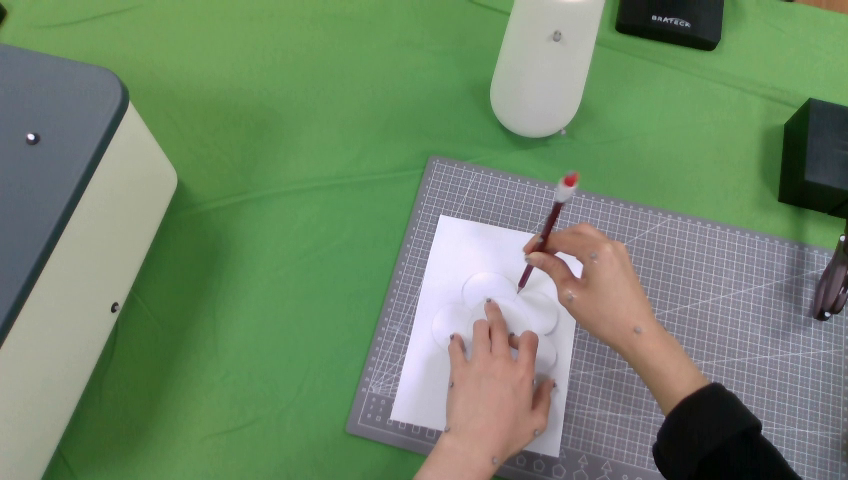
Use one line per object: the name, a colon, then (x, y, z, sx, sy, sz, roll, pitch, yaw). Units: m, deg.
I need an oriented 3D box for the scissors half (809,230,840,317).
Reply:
scissors half: (0.406, -0.008, 0.590, 0.012, 0.040, 0.175, 18, 88, 22)

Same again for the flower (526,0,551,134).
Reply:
flower: (0.112, -0.233, 0.520, 0.044, 0.365, 0.038, 7, 51, 6)

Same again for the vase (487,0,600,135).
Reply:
vase: (0.115, -0.189, 0.592, 0.098, 0.201, 0.097, 0, 67, 1)

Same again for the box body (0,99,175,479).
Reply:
box body: (-0.413, 0.023, 0.526, 0.254, 0.161, 0.362, 14, 69, 5)

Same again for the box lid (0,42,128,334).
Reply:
box lid: (-0.413, -0.007, 0.456, 0.263, 0.015, 0.369, 14, 69, 5)

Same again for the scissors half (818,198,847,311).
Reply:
scissors half: (0.400, -0.014, 0.571, 0.013, 0.040, 0.174, 19, 70, 16)

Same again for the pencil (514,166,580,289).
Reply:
pencil: (0.098, -0.001, 0.514, 0.012, 0.195, 0.012, 3, 59, -4)
